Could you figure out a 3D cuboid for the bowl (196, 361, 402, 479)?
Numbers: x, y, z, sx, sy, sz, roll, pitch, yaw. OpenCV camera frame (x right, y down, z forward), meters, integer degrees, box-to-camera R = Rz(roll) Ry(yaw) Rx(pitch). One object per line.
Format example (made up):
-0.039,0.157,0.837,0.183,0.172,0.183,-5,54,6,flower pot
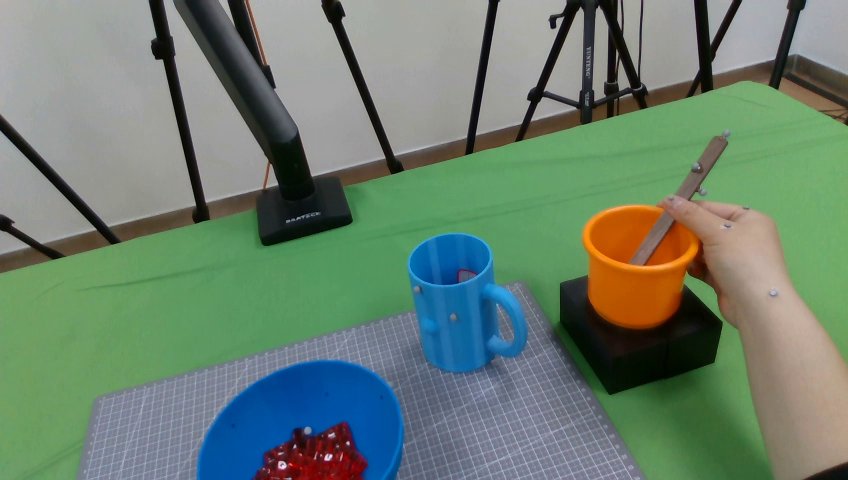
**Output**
-0.085,0.175,0.460,0.151,0.077,0.150,-5,37,4,bowl

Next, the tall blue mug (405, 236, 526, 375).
0.043,0.062,0.557,0.107,0.109,0.077,2,37,14,tall blue mug

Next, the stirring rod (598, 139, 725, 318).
0.201,-0.009,0.515,0.014,0.006,0.176,38,99,42,stirring rod
